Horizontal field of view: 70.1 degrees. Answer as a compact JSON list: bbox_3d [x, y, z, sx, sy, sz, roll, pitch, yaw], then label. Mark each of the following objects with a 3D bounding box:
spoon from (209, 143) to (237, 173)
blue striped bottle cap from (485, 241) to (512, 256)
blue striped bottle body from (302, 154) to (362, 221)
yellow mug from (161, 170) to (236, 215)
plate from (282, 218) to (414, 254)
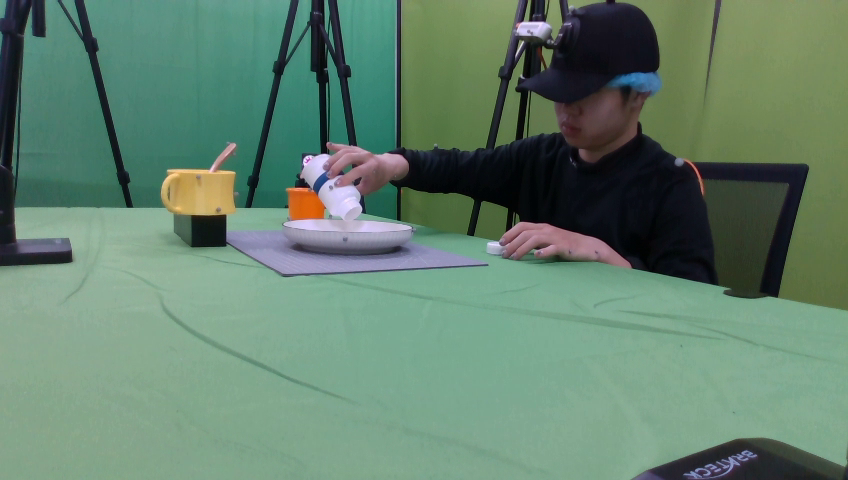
[{"bbox_3d":[-0.341,-0.113,0.990,0.041,0.021,0.193,1,39,7],"label":"spoon"},{"bbox_3d":[0.123,0.015,1.000,0.044,0.020,0.044,6,7,0],"label":"blue striped bottle cap"},{"bbox_3d":[-0.157,-0.088,1.055,0.063,0.063,0.120,-7,53,-54],"label":"blue striped bottle body"},{"bbox_3d":[-0.353,-0.074,0.935,0.099,0.064,0.131,5,9,21],"label":"yellow mug"},{"bbox_3d":[-0.121,-0.007,0.971,0.208,0.039,0.207,2,7,0],"label":"plate"}]
